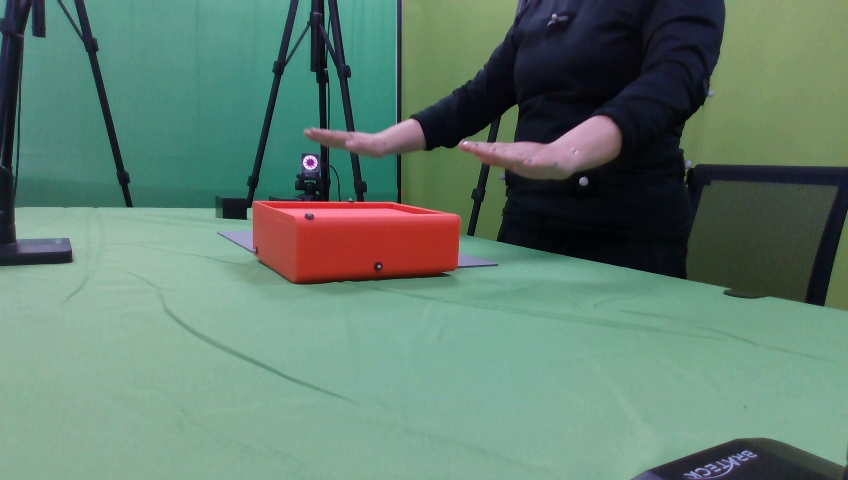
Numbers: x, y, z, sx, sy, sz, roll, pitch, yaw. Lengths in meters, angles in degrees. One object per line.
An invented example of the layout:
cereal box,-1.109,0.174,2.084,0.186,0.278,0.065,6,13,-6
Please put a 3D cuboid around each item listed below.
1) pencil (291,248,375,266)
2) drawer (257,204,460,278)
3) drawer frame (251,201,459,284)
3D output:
pencil,-0.112,0.020,0.793,0.012,0.012,0.195,6,6,24
drawer,-0.090,-0.004,0.793,0.213,0.073,0.193,-3,10,-29
drawer frame,-0.094,-0.005,0.788,0.215,0.082,0.200,-3,10,-30
